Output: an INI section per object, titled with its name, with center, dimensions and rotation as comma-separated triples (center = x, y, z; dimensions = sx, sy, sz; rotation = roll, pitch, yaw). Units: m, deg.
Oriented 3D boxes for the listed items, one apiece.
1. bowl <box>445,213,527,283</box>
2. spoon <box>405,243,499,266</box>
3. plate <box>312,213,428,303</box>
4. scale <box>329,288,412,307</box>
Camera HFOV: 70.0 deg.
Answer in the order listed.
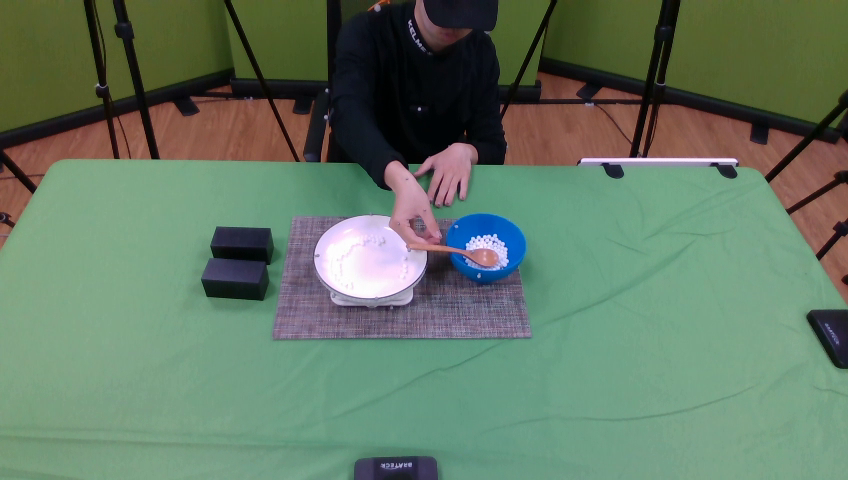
[bowl]
center = 0.111, 0.028, 1.137
dimensions = 0.151, 0.077, 0.150
rotation = 2, 46, -2
[spoon]
center = 0.053, 0.020, 1.089
dimensions = 0.194, 0.021, 0.041
rotation = 10, 52, -30
[plate]
center = -0.097, 0.036, 1.100
dimensions = 0.209, 0.038, 0.208
rotation = 2, 46, -2
[scale]
center = -0.098, 0.042, 1.139
dimensions = 0.149, 0.032, 0.199
rotation = 0, 46, -4
